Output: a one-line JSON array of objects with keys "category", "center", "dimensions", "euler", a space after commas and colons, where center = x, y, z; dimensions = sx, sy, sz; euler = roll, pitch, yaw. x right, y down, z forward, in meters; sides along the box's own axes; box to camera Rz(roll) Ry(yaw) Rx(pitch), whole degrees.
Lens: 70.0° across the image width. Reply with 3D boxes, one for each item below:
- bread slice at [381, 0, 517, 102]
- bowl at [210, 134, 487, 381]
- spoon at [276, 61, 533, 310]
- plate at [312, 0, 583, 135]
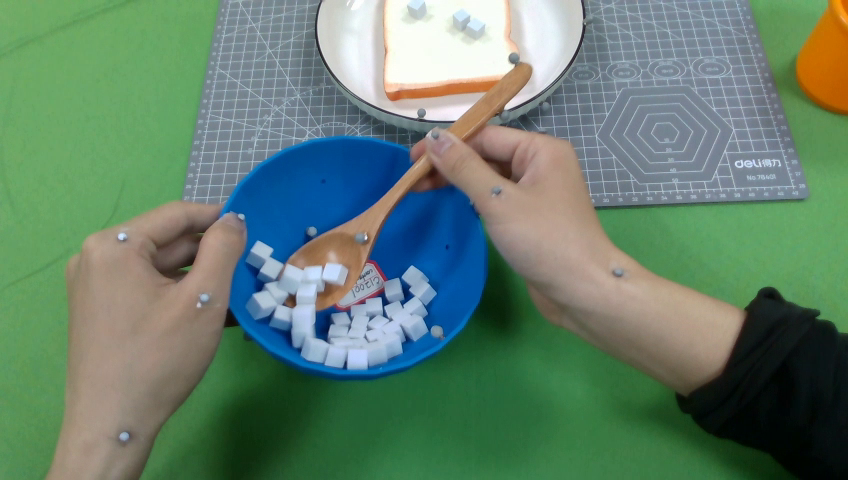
[{"category": "bread slice", "center": [0.014, -0.170, 0.487], "dimensions": [0.107, 0.018, 0.133], "euler": [-9, 66, 0]}, {"category": "bowl", "center": [-0.044, 0.020, 0.364], "dimensions": [0.152, 0.077, 0.150], "euler": [5, 61, -9]}, {"category": "spoon", "center": [-0.008, -0.032, 0.342], "dimensions": [0.194, 0.022, 0.041], "euler": [-44, 70, 3]}, {"category": "plate", "center": [0.017, -0.166, 0.482], "dimensions": [0.209, 0.038, 0.207], "euler": [-2, 65, 3]}]
